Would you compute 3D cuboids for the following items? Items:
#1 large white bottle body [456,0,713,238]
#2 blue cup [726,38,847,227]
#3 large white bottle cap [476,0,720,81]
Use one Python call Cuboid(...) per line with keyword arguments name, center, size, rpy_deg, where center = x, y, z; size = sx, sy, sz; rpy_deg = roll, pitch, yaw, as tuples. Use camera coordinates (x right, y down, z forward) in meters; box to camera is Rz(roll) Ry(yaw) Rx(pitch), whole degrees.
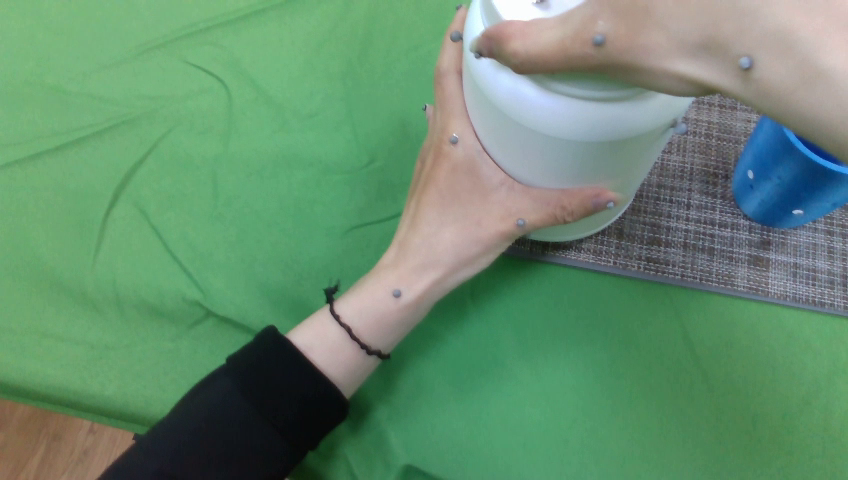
Cuboid(name="large white bottle body", center=(0.085, -0.092, 0.365), size=(0.130, 0.186, 0.129), rpy_deg=(-1, 67, 2))
Cuboid(name="blue cup", center=(0.245, -0.056, 0.391), size=(0.092, 0.101, 0.092), rpy_deg=(-1, 66, 3))
Cuboid(name="large white bottle cap", center=(0.081, -0.126, 0.288), size=(0.115, 0.018, 0.114), rpy_deg=(-1, 67, 2))
